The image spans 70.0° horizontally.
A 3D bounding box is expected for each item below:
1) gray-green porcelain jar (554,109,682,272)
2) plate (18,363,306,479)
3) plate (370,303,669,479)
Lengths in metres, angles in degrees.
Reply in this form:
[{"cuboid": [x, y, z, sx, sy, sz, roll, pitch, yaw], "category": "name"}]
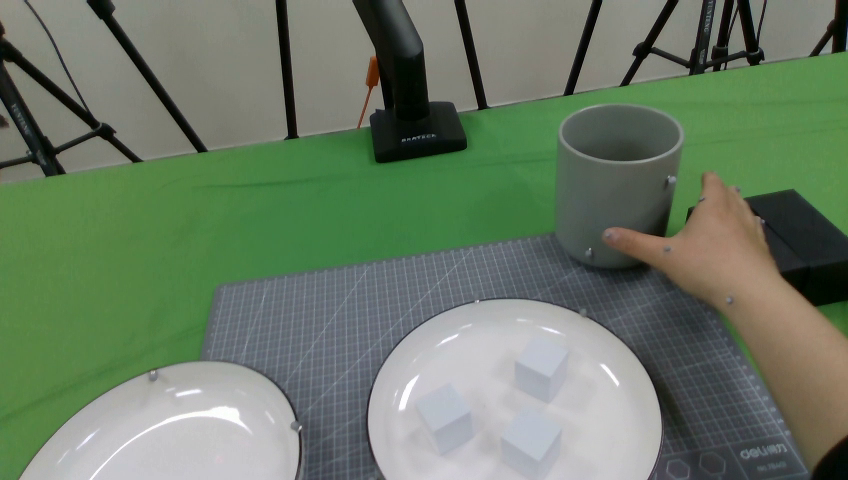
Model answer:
[{"cuboid": [0.175, -0.042, 0.564, 0.106, 0.128, 0.105, -5, 39, 4], "category": "gray-green porcelain jar"}, {"cuboid": [-0.182, 0.178, 0.422, 0.209, 0.038, 0.207, -5, 39, 5], "category": "plate"}, {"cuboid": [0.066, 0.131, 0.441, 0.207, 0.039, 0.205, -4, 39, 4], "category": "plate"}]
